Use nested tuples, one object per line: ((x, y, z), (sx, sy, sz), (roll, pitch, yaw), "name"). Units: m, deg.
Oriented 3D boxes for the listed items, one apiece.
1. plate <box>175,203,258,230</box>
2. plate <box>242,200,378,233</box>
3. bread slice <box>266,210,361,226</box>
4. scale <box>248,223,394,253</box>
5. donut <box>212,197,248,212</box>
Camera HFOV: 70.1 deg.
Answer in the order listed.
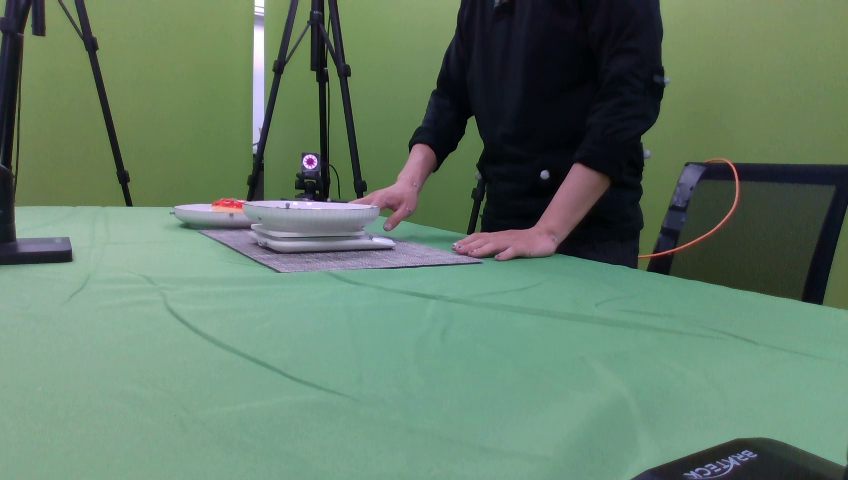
((-0.380, -0.047, 1.199), (0.208, 0.039, 0.207), (3, 7, 0), "plate")
((-0.176, -0.038, 0.939), (0.209, 0.038, 0.209), (3, 7, 0), "plate")
((-0.174, -0.035, 0.934), (0.132, 0.019, 0.104), (-1, 6, -28), "bread slice")
((-0.162, -0.006, 0.954), (0.202, 0.031, 0.148), (-1, 8, -32), "scale")
((-0.376, -0.061, 1.220), (0.099, 0.048, 0.099), (5, 4, 0), "donut")
